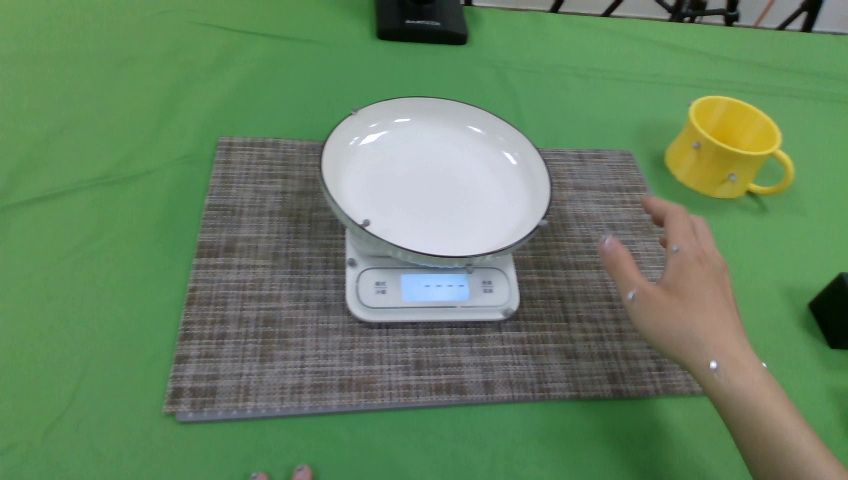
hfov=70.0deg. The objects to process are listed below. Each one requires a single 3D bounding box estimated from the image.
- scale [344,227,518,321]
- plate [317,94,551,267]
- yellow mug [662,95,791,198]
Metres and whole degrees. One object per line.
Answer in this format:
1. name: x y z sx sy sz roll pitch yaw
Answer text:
1. scale: 0.002 -0.016 0.556 0.149 0.032 0.199 1 50 -9
2. plate: 0.008 -0.055 0.548 0.209 0.038 0.207 5 49 -6
3. yellow mug: 0.337 -0.096 0.666 0.130 0.064 0.100 37 54 20
